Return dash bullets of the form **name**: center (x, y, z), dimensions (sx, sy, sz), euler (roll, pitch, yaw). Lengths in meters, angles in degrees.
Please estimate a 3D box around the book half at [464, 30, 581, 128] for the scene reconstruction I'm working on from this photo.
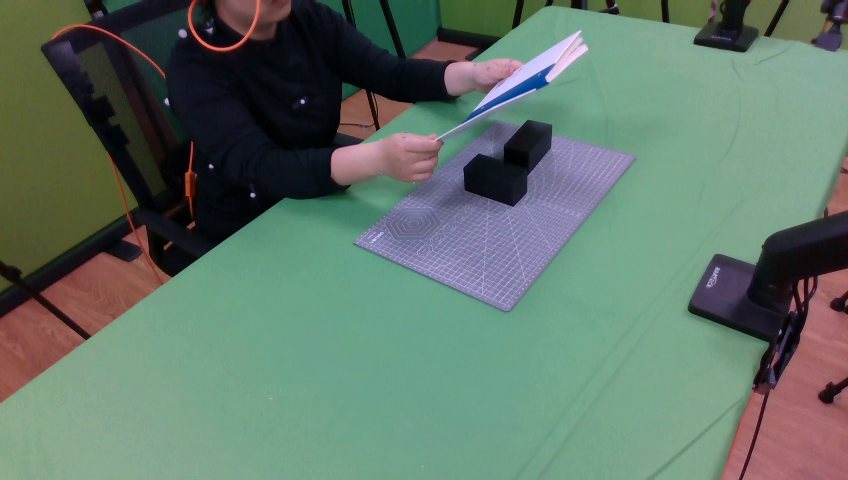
- **book half**: center (0.168, -0.278, 1.058), dimensions (0.209, 0.016, 0.149), euler (-21, 26, 53)

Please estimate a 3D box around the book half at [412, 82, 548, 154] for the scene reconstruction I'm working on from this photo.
- **book half**: center (0.086, -0.195, 0.978), dimensions (0.144, 0.007, 0.209), euler (-30, 7, -37)
